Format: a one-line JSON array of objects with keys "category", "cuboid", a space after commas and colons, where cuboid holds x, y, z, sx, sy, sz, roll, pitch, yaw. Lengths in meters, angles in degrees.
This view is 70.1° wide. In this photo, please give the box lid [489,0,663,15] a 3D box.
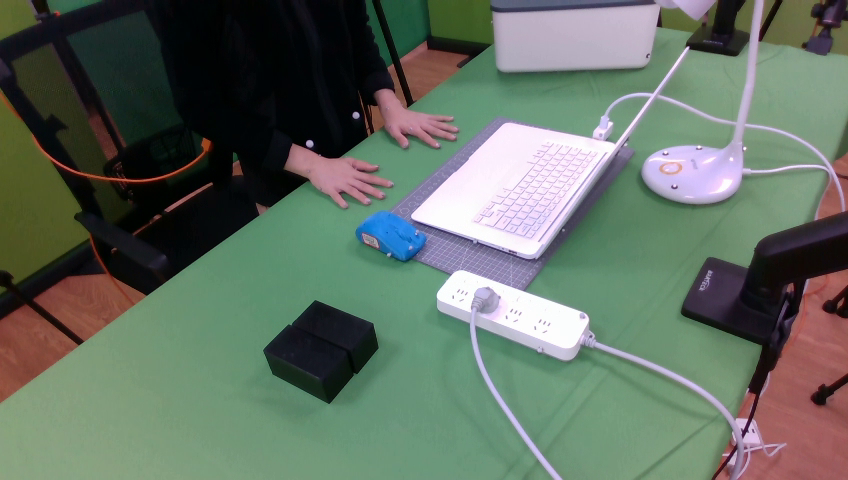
[{"category": "box lid", "cuboid": [0.341, -0.576, 1.380, 0.371, 0.015, 0.262, 0, 41, 10]}]

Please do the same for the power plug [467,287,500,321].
[{"category": "power plug", "cuboid": [0.073, 0.092, 0.814, 0.035, 0.053, 0.073, 29, 54, 34]}]

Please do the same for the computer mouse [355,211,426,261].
[{"category": "computer mouse", "cuboid": [-0.055, -0.010, 0.980, 0.116, 0.041, 0.063, 27, 50, 29]}]

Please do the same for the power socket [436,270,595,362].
[{"category": "power socket", "cuboid": [0.118, 0.101, 0.832, 0.225, 0.033, 0.072, 19, 48, 27]}]

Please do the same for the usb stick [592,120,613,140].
[{"category": "usb stick", "cuboid": [0.336, -0.201, 1.146, 0.021, 0.027, 0.059, 26, 53, 27]}]

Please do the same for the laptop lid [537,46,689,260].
[{"category": "laptop lid", "cuboid": [0.293, -0.136, 0.927, 0.013, 0.241, 0.357, 35, 51, 10]}]

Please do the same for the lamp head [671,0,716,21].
[{"category": "lamp head", "cuboid": [0.375, -0.373, 0.807, 0.122, 0.113, 0.112, -40, 27, 32]}]

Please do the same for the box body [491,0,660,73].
[{"category": "box body", "cuboid": [0.347, -0.521, 1.429, 0.363, 0.161, 0.253, 1, 41, 9]}]

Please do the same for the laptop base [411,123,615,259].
[{"category": "laptop base", "cuboid": [0.168, -0.101, 1.073, 0.234, 0.023, 0.355, 17, 46, 30]}]

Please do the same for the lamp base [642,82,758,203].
[{"category": "lamp base", "cuboid": [0.464, -0.174, 0.992, 0.179, 0.181, 0.159, -5, 41, -1]}]
